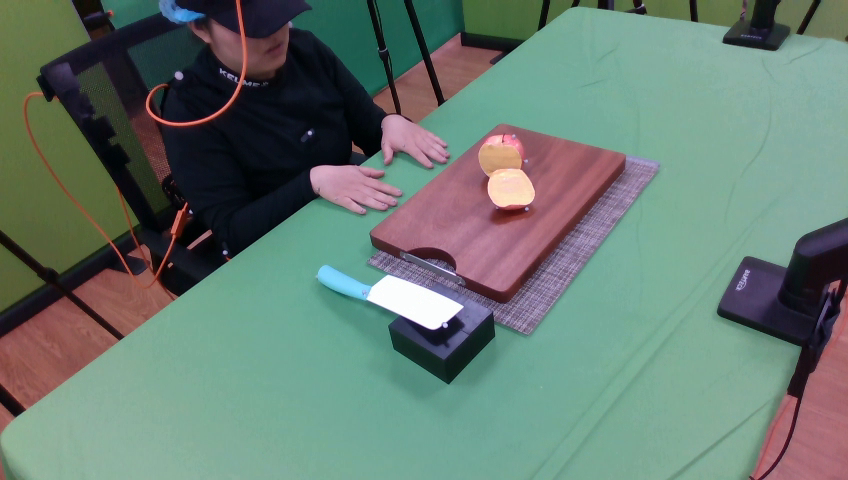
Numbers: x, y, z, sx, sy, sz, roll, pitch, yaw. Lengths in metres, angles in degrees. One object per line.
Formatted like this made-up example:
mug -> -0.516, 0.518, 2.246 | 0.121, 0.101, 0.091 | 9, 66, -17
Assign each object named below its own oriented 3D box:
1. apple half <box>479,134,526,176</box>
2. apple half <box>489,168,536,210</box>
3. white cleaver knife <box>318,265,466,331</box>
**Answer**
apple half -> 0.141, -0.149, 1.052 | 0.080, 0.075, 0.053 | 7, 39, 24
apple half -> 0.143, -0.080, 0.995 | 0.081, 0.033, 0.081 | 1, 63, -2
white cleaver knife -> -0.056, 0.075, 0.871 | 0.284, 0.021, 0.066 | 17, 42, 43
